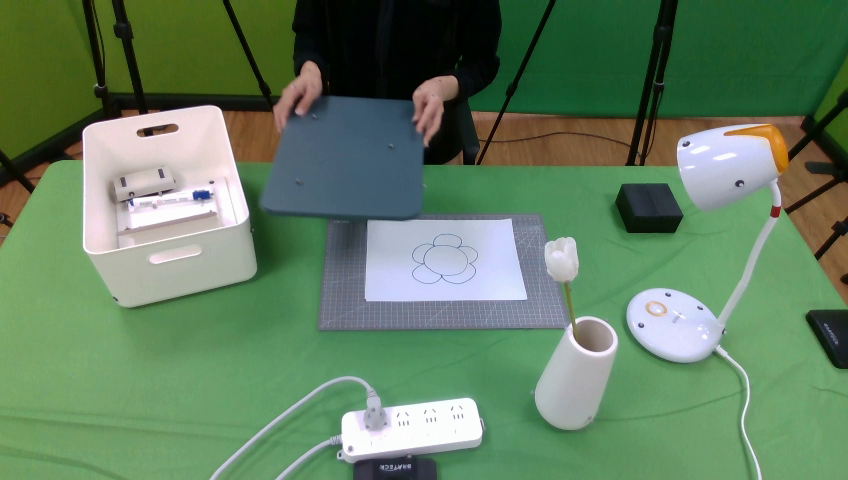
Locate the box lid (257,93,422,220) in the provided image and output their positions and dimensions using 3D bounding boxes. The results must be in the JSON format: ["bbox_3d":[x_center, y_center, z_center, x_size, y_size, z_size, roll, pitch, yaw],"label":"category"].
[{"bbox_3d":[-0.136,-0.161,1.088,0.263,0.015,0.369,2,43,-2],"label":"box lid"}]

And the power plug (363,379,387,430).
[{"bbox_3d":[-0.071,0.252,0.911,0.035,0.053,0.072,3,40,0],"label":"power plug"}]

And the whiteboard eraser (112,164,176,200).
[{"bbox_3d":[-0.567,-0.116,1.230,0.113,0.042,0.055,-17,57,-22],"label":"whiteboard eraser"}]

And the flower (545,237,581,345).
[{"bbox_3d":[0.213,0.137,0.846,0.038,0.364,0.044,21,55,40],"label":"flower"}]

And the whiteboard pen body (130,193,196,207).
[{"bbox_3d":[-0.498,-0.080,1.187,0.141,0.017,0.017,-7,47,-16],"label":"whiteboard pen body"}]

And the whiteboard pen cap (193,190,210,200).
[{"bbox_3d":[-0.443,-0.089,1.204,0.033,0.018,0.018,-9,48,-16],"label":"whiteboard pen cap"}]

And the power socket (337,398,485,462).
[{"bbox_3d":[-0.018,0.285,0.914,0.227,0.033,0.071,-4,46,-8],"label":"power socket"}]

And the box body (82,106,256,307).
[{"bbox_3d":[-0.471,-0.070,1.131,0.254,0.161,0.361,-14,49,-17],"label":"box body"}]

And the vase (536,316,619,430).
[{"bbox_3d":[0.229,0.200,0.901,0.098,0.201,0.097,3,46,-3],"label":"vase"}]

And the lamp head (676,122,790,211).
[{"bbox_3d":[0.423,-0.104,0.819,0.122,0.113,0.112,-13,33,40],"label":"lamp head"}]

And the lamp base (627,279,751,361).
[{"bbox_3d":[0.460,0.100,1.027,0.178,0.181,0.160,27,51,17],"label":"lamp base"}]

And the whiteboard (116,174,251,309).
[{"bbox_3d":[-0.473,-0.055,1.130,0.217,0.144,0.303,-15,50,-16],"label":"whiteboard"}]
